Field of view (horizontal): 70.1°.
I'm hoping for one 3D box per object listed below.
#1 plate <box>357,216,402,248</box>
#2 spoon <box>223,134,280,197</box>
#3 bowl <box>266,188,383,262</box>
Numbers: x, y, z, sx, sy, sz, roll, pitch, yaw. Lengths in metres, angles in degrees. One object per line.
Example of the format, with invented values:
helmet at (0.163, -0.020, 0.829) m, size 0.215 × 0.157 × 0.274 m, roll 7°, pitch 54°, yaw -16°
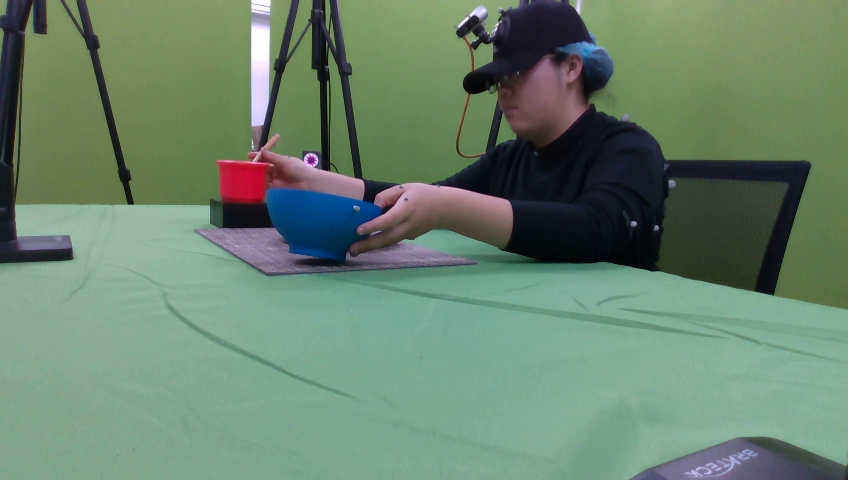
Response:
plate at (-0.140, -0.015, 0.993) m, size 0.208 × 0.039 × 0.207 m, roll 3°, pitch 8°, yaw 0°
spoon at (-0.333, -0.150, 1.192) m, size 0.041 × 0.021 × 0.194 m, roll 15°, pitch 55°, yaw 15°
bowl at (-0.134, -0.015, 0.785) m, size 0.151 × 0.076 × 0.151 m, roll 8°, pitch -3°, yaw 1°
